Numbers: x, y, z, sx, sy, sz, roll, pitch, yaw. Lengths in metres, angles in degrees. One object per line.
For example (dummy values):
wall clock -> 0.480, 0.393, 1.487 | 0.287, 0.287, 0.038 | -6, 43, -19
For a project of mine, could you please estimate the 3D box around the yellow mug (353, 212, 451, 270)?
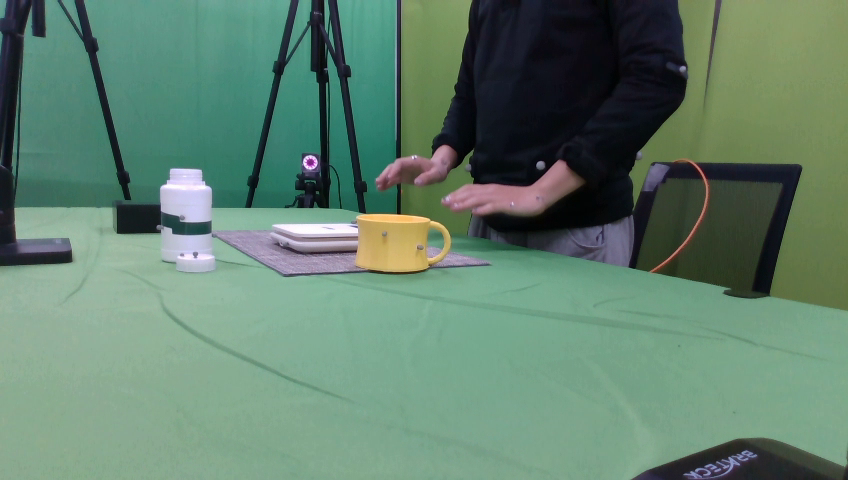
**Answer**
yellow mug -> -0.027, 0.000, 0.807 | 0.131, 0.064, 0.099 | 2, 8, -13

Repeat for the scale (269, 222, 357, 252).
scale -> -0.132, -0.007, 0.965 | 0.202, 0.031, 0.148 | -2, 8, -31

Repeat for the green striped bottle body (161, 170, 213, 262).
green striped bottle body -> -0.312, -0.033, 0.797 | 0.063, 0.119, 0.063 | 2, 7, 0

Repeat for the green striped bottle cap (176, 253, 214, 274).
green striped bottle cap -> -0.280, 0.029, 0.740 | 0.044, 0.020, 0.044 | 7, 4, 0
